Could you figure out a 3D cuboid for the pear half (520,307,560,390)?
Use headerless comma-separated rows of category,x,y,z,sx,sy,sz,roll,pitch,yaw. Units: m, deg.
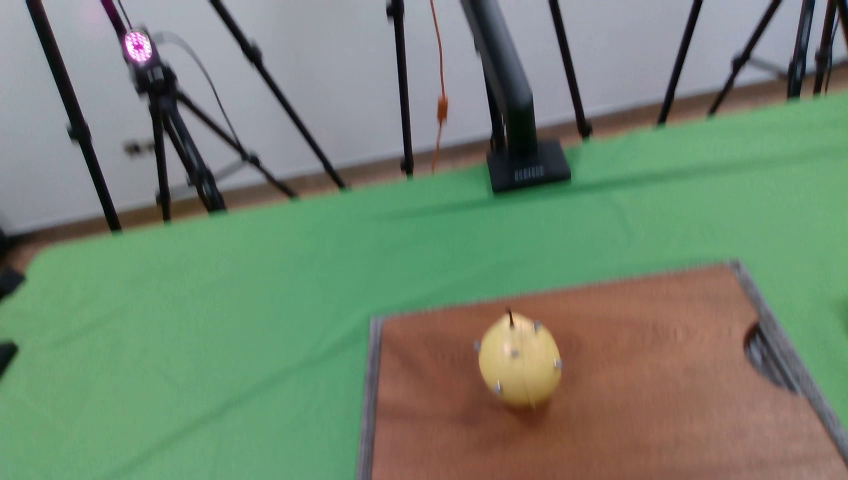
pear half,0.112,0.100,0.574,0.031,0.089,0.070,-5,33,15

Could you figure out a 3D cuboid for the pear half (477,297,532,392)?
pear half,0.076,0.094,0.578,0.056,0.111,0.076,-4,36,16
